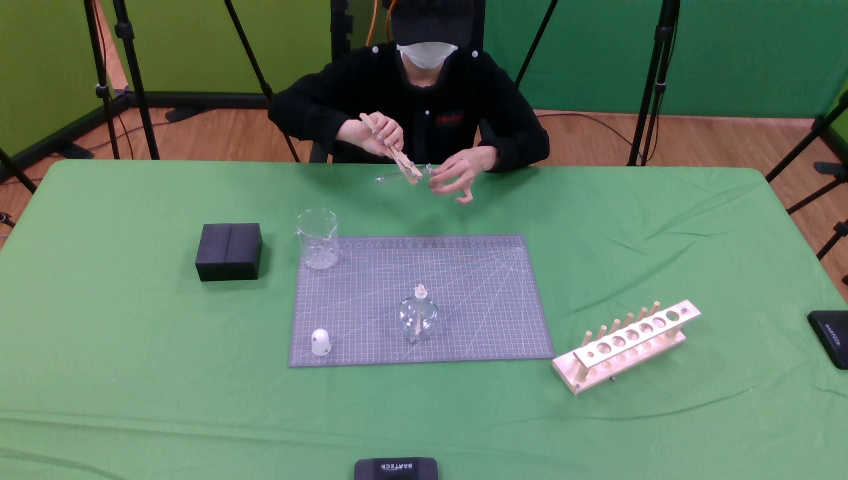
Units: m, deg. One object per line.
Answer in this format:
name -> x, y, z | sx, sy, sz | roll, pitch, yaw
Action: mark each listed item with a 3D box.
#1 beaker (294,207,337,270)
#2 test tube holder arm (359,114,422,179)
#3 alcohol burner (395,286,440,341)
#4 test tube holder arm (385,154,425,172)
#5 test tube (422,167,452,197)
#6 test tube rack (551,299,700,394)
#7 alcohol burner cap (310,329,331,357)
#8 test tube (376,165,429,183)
beaker -> -0.196, 0.003, 1.123 | 0.074, 0.101, 0.083 | -23, 53, -24
test tube holder arm -> -0.063, -0.172, 1.098 | 0.015, 0.013, 0.177 | -12, 54, -50
alcohol burner -> -0.010, 0.116, 1.018 | 0.078, 0.119, 0.077 | 3, 47, -3
test tube holder arm -> -0.035, -0.140, 1.081 | 0.087, 0.010, 0.015 | 28, 23, 33
test tube -> 0.027, -0.112, 1.185 | 0.017, 0.151, 0.017 | -5, 75, 19
test tube rack -> 0.339, 0.166, 1.021 | 0.242, 0.085, 0.066 | -19, 50, -21
alcohol burner cap -> -0.173, 0.168, 1.004 | 0.034, 0.048, 0.033 | 2, 46, -2
test tube -> -0.036, -0.115, 1.057 | 0.017, 0.017, 0.150 | 30, 27, 23
